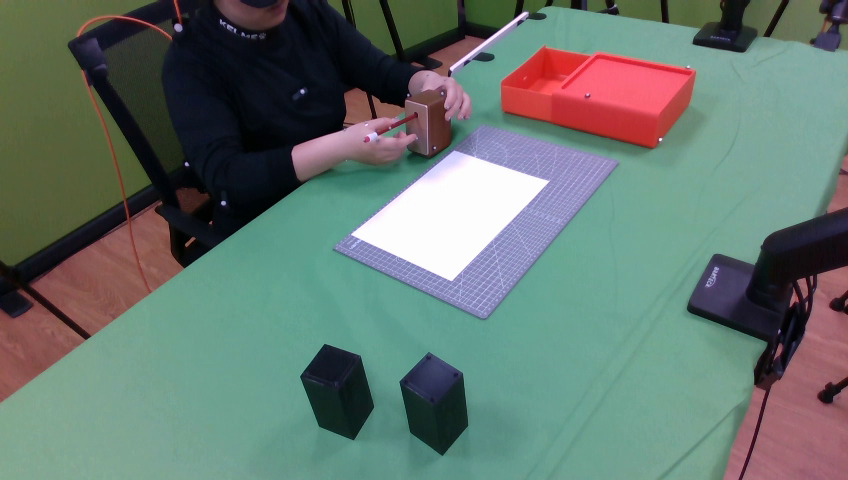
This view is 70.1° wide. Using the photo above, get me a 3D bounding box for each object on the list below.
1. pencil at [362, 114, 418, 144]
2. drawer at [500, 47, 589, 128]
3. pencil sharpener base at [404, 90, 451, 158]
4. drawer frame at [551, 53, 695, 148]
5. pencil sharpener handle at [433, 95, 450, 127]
[{"bbox_3d":[-0.043,-0.211,1.095,0.012,0.012,0.195,24,41,32],"label":"pencil"},{"bbox_3d":[0.295,-0.316,1.255,0.210,0.073,0.195,22,47,29],"label":"drawer"},{"bbox_3d":[0.009,-0.224,1.163,0.061,0.107,0.077,23,40,33],"label":"pencil sharpener base"},{"bbox_3d":[0.391,-0.281,1.196,0.212,0.083,0.202,22,48,29],"label":"drawer frame"},{"bbox_3d":[0.040,-0.257,1.190,0.035,0.068,0.031,30,43,27],"label":"pencil sharpener handle"}]
